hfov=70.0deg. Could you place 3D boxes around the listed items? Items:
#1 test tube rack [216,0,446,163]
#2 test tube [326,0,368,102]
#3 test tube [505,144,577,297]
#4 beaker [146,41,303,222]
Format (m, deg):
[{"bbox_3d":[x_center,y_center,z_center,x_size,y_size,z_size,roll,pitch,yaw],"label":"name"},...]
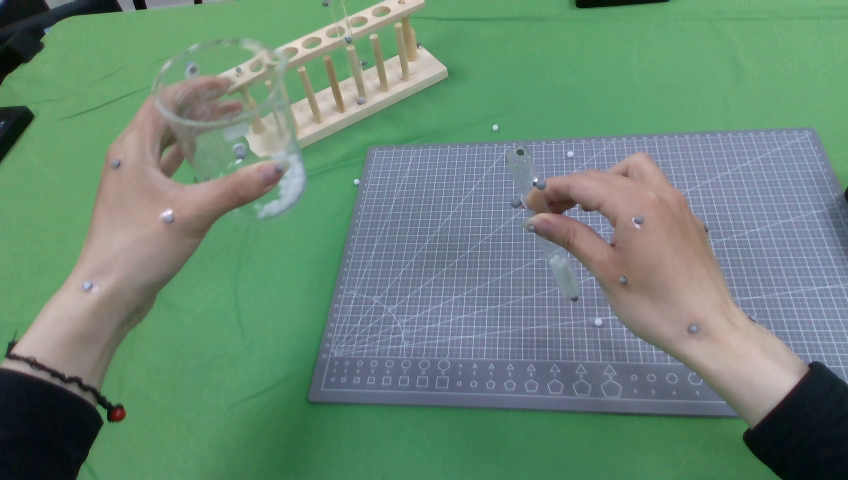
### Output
[{"bbox_3d":[-0.099,-0.188,0.688,0.242,0.086,0.066,-29,52,-13],"label":"test tube rack"},{"bbox_3d":[-0.083,-0.212,0.647,0.017,0.152,0.017,-6,50,7],"label":"test tube"},{"bbox_3d":[0.082,-0.006,0.411,0.017,0.152,0.017,-15,47,16],"label":"test tube"},{"bbox_3d":[-0.120,-0.066,0.394,0.084,0.101,0.073,-34,62,-20],"label":"beaker"}]
